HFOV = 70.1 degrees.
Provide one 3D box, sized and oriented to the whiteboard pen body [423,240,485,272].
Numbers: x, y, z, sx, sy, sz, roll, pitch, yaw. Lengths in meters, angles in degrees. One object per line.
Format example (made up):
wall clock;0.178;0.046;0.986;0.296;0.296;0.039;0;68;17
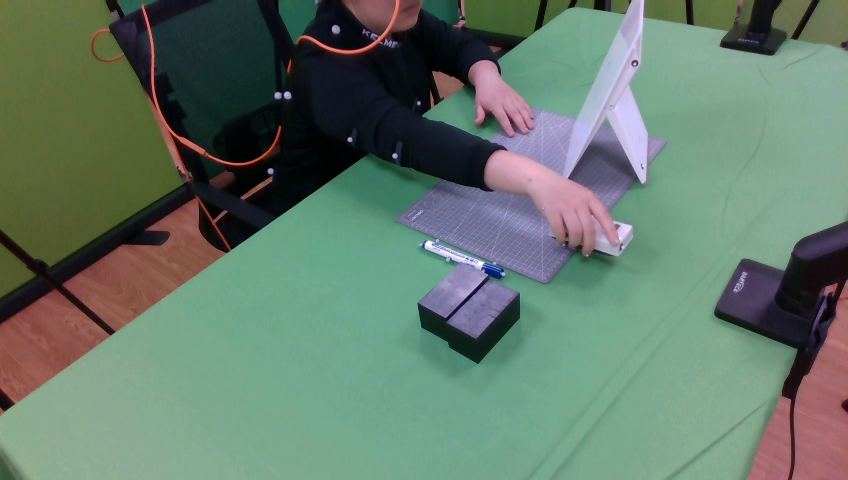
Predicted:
whiteboard pen body;0.057;0.028;0.942;0.139;0.017;0.017;22;48;30

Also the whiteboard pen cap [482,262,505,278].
whiteboard pen cap;0.104;0.044;0.912;0.033;0.018;0.018;23;49;29

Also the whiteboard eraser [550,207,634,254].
whiteboard eraser;0.250;-0.013;0.904;0.112;0.042;0.056;17;42;33

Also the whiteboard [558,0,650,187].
whiteboard;0.362;-0.238;1.026;0.144;0.306;0.217;21;45;4
